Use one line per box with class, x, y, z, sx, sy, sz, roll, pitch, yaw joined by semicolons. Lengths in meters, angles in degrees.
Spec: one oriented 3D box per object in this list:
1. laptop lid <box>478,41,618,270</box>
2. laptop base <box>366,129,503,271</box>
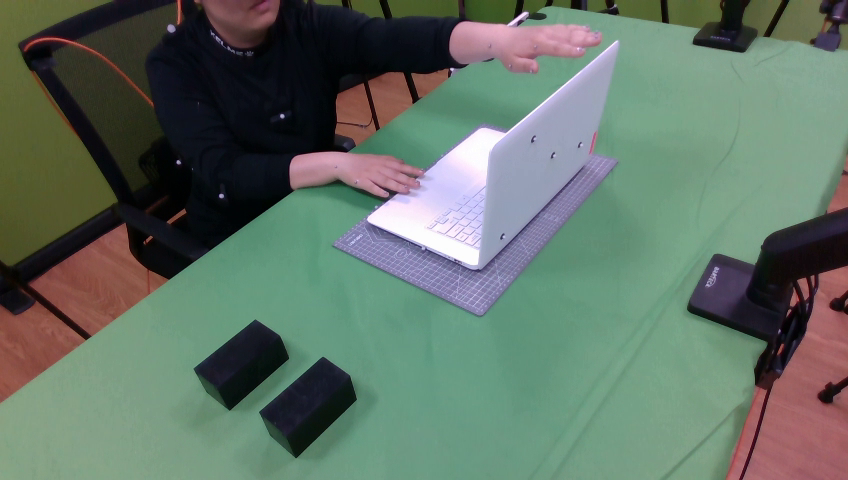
laptop lid;0.191;-0.130;0.912;0.013;0.242;0.358;29;50;26
laptop base;0.099;-0.085;1.058;0.233;0.023;0.355;21;48;34
